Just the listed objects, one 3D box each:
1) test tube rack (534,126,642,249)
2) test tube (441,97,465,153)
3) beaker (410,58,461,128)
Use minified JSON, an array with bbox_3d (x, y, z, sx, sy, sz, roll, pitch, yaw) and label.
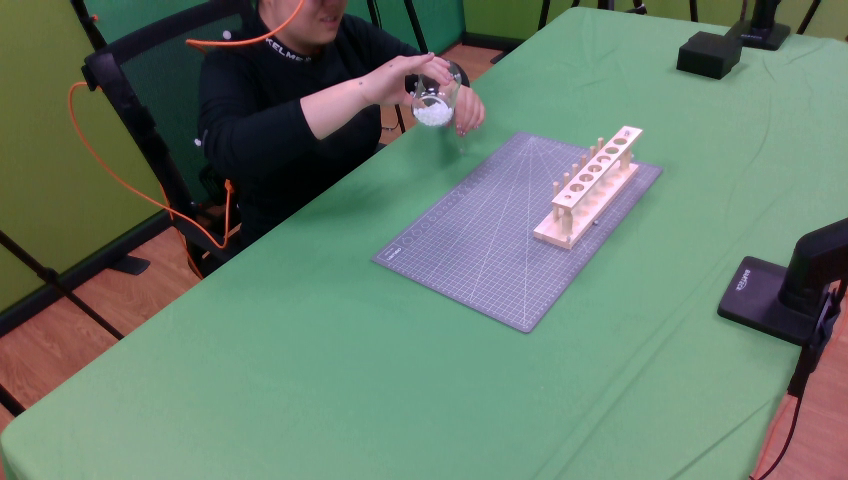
[{"bbox_3d":[0.271,-0.095,0.990,0.066,0.085,0.243,23,49,33],"label":"test tube rack"},{"bbox_3d":[0.056,-0.208,1.113,0.017,0.151,0.017,-7,60,12],"label":"test tube"},{"bbox_3d":[0.020,-0.237,0.992,0.074,0.084,0.100,-4,45,17],"label":"beaker"}]
